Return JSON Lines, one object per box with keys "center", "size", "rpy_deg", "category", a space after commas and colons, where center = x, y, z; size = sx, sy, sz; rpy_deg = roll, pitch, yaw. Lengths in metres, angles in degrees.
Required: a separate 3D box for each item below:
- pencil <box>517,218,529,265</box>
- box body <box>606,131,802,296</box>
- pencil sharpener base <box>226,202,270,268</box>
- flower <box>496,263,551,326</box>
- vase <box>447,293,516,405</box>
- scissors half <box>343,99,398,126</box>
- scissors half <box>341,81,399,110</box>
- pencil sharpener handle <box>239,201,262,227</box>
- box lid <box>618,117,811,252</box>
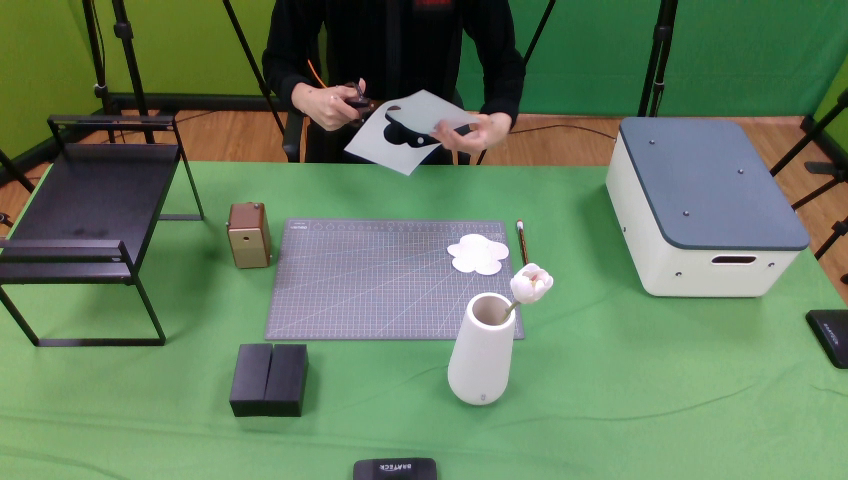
{"center": [0.201, 0.028, 1.197], "size": [0.012, 0.012, 0.193], "rpy_deg": [1, 48, -3], "category": "pencil"}
{"center": [0.530, -0.067, 1.204], "size": [0.254, 0.161, 0.361], "rpy_deg": [0, 46, -4], "category": "box body"}
{"center": [-0.323, -0.010, 1.123], "size": [0.061, 0.107, 0.076], "rpy_deg": [-3, 46, -7], "category": "pencil sharpener base"}
{"center": [0.102, 0.120, 0.853], "size": [0.044, 0.363, 0.038], "rpy_deg": [-2, 64, -10], "category": "flower"}
{"center": [0.091, 0.169, 0.921], "size": [0.098, 0.201, 0.097], "rpy_deg": [3, 47, -3], "category": "vase"}
{"center": [-0.096, -0.231, 1.079], "size": [0.013, 0.040, 0.174], "rpy_deg": [-15, 9, -35], "category": "scissors half"}
{"center": [-0.098, -0.251, 1.073], "size": [0.013, 0.040, 0.174], "rpy_deg": [-21, 34, -34], "category": "scissors half"}
{"center": [-0.325, -0.055, 1.150], "size": [0.036, 0.068, 0.030], "rpy_deg": [-12, 46, 3], "category": "pencil sharpener handle"}
{"center": [0.534, -0.117, 1.149], "size": [0.263, 0.015, 0.369], "rpy_deg": [0, 47, -3], "category": "box lid"}
